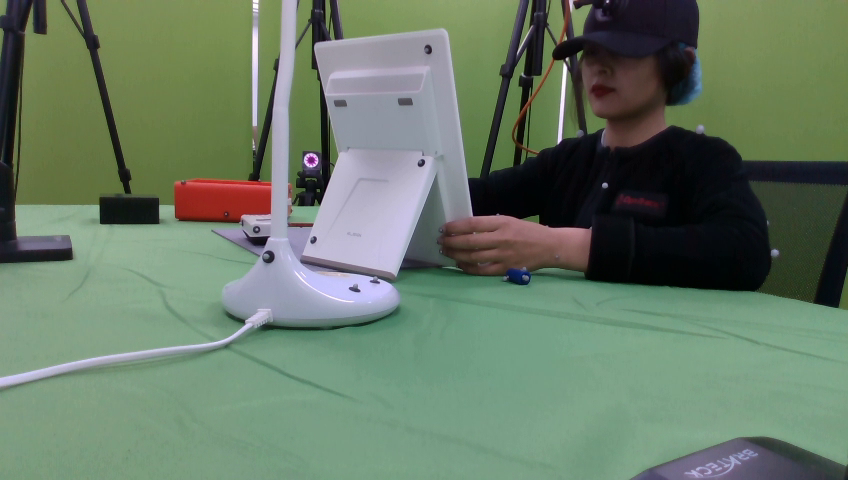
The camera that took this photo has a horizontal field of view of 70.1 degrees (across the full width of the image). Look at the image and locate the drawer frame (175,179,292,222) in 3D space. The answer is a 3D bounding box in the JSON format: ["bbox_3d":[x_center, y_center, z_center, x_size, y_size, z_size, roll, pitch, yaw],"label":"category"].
[{"bbox_3d":[-0.402,-0.087,1.311,0.214,0.082,0.201,1,8,-9],"label":"drawer frame"}]

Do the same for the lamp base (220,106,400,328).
[{"bbox_3d":[-0.102,-0.023,0.531,0.160,0.180,0.179,4,10,10],"label":"lamp base"}]

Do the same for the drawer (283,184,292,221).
[{"bbox_3d":[-0.397,-0.086,1.314,0.212,0.073,0.194,1,8,-9],"label":"drawer"}]

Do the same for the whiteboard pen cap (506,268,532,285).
[{"bbox_3d":[0.113,0.043,0.726,0.018,0.018,0.033,-2,9,-28],"label":"whiteboard pen cap"}]

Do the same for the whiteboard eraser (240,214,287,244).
[{"bbox_3d":[-0.256,-0.017,0.958,0.056,0.042,0.112,0,8,-25],"label":"whiteboard eraser"}]

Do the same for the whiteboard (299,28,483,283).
[{"bbox_3d":[-0.075,-0.082,0.741,0.216,0.305,0.144,9,30,38],"label":"whiteboard"}]

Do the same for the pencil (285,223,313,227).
[{"bbox_3d":[-0.234,-0.030,1.198,0.195,0.012,0.012,0,8,-20],"label":"pencil"}]

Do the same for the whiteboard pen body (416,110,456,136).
[{"bbox_3d":[0.016,-0.159,0.815,0.017,0.017,0.141,5,1,21],"label":"whiteboard pen body"}]

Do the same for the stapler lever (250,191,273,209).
[{"bbox_3d":[-0.351,-0.086,1.305,0.027,0.040,0.118,0,5,-3],"label":"stapler lever"}]

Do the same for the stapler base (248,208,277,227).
[{"bbox_3d":[-0.350,-0.053,1.310,0.041,0.024,0.130,0,13,-3],"label":"stapler base"}]
